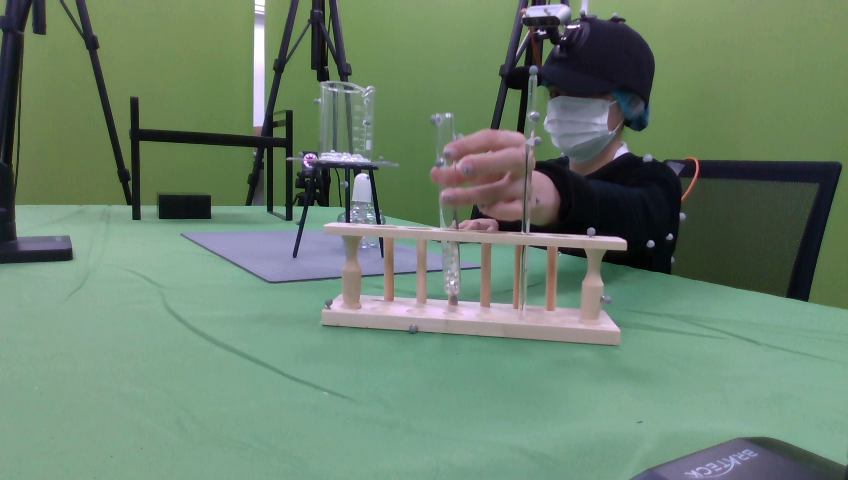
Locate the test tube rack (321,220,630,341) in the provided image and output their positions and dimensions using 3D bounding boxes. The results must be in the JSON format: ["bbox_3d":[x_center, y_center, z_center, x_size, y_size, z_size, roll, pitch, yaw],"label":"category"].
[{"bbox_3d":[0.041,0.029,0.511,0.242,0.085,0.067,3,7,5],"label":"test tube rack"}]

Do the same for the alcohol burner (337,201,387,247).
[{"bbox_3d":[-0.098,-0.049,0.954,0.078,0.119,0.078,0,7,0],"label":"alcohol burner"}]

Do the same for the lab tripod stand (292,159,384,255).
[{"bbox_3d":[-0.105,-0.039,0.797,0.148,0.131,0.148,2,5,0],"label":"lab tripod stand"}]

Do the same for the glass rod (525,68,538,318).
[{"bbox_3d":[0.084,-0.031,0.472,0.008,0.199,0.008,-1,14,1],"label":"glass rod"}]

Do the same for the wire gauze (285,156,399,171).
[{"bbox_3d":[-0.102,-0.103,0.787,0.121,0.011,0.125,5,4,6],"label":"wire gauze"}]

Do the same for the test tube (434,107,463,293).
[{"bbox_3d":[0.020,-0.030,0.486,0.017,0.150,0.017,-3,12,1],"label":"test tube"}]

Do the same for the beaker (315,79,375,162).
[{"bbox_3d":[-0.100,-0.151,0.778,0.074,0.100,0.083,-3,8,-38],"label":"beaker"}]

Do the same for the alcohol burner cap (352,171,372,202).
[{"bbox_3d":[-0.096,-0.084,0.951,0.034,0.048,0.034,5,6,0],"label":"alcohol burner cap"}]
